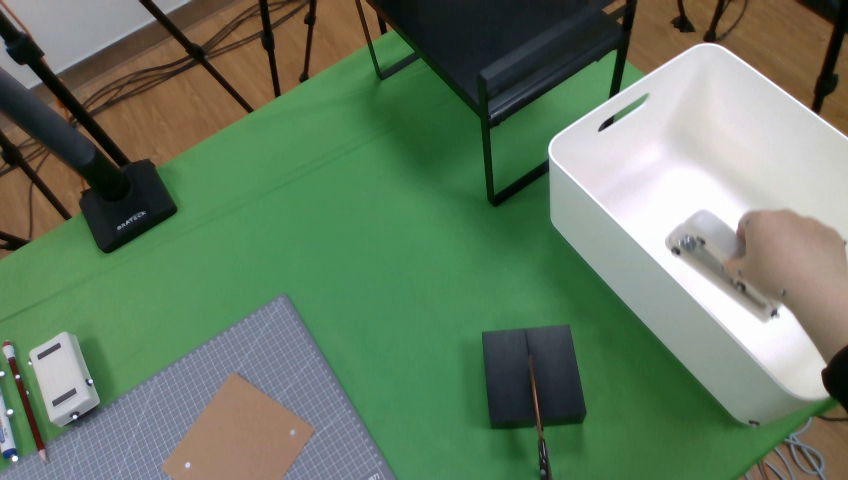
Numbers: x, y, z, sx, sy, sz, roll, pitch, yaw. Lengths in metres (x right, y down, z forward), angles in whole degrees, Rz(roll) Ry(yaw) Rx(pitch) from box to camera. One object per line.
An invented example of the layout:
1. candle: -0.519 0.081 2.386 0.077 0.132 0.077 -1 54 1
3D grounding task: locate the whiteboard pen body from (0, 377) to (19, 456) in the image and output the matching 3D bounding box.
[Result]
1. whiteboard pen body: -0.541 0.213 0.774 0.017 0.017 0.139 -32 62 -9

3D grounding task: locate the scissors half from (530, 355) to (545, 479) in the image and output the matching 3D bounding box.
1. scissors half: 0.125 0.210 0.643 0.013 0.040 0.174 -7 81 2

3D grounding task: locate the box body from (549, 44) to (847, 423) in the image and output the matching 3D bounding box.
1. box body: 0.343 -0.011 0.680 0.254 0.162 0.360 -34 62 -9

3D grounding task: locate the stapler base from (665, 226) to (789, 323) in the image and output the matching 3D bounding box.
1. stapler base: 0.316 0.029 0.633 0.041 0.024 0.129 -42 66 -13

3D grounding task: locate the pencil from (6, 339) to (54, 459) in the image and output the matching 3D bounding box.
1. pencil: -0.506 0.202 0.779 0.012 0.012 0.192 -36 63 -11

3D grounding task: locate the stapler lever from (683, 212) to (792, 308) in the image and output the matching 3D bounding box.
1. stapler lever: 0.315 0.017 0.610 0.027 0.040 0.117 -42 66 -13

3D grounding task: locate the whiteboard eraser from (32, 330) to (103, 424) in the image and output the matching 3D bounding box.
1. whiteboard eraser: -0.450 0.173 0.769 0.055 0.042 0.111 -34 63 -9

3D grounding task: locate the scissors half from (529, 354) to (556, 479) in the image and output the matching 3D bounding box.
1. scissors half: 0.122 0.203 0.624 0.013 0.040 0.173 -9 64 7

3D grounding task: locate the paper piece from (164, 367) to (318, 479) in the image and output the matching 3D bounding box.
1. paper piece: -0.217 0.242 0.714 0.137 0.009 0.135 29 74 19
